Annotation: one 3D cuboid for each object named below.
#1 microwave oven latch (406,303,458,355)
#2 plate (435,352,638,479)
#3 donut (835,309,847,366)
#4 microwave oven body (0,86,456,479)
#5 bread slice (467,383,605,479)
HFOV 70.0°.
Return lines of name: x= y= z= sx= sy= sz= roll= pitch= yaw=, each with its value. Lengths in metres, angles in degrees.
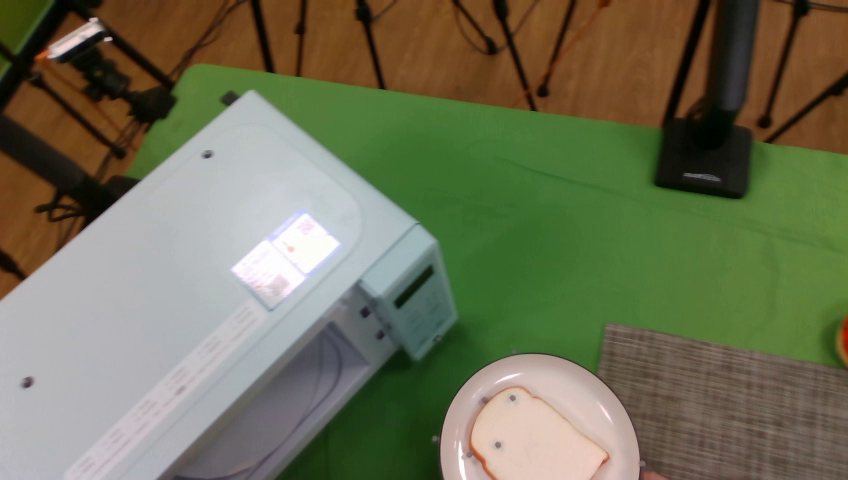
microwave oven latch: x=0.009 y=0.107 z=0.769 sx=0.079 sy=0.030 sz=0.030 roll=-44 pitch=67 yaw=-12
plate: x=0.115 y=0.224 z=0.641 sx=0.207 sy=0.039 sz=0.206 roll=-1 pitch=64 yaw=2
donut: x=0.531 y=0.118 z=0.699 sx=0.099 sy=0.049 sz=0.098 roll=-5 pitch=60 yaw=9
microwave oven body: x=-0.232 y=0.104 z=0.698 sx=0.323 sy=0.262 sz=0.441 roll=39 pitch=76 yaw=22
bread slice: x=0.110 y=0.219 z=0.644 sx=0.130 sy=0.019 sz=0.105 roll=39 pitch=71 yaw=18
